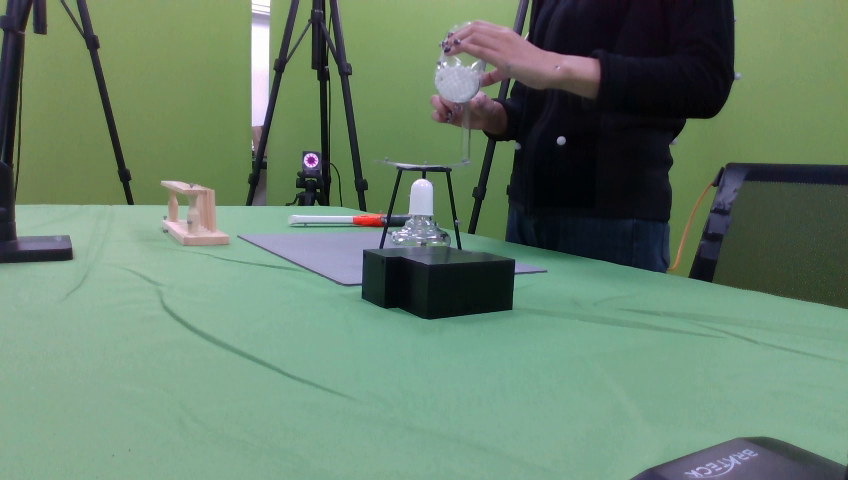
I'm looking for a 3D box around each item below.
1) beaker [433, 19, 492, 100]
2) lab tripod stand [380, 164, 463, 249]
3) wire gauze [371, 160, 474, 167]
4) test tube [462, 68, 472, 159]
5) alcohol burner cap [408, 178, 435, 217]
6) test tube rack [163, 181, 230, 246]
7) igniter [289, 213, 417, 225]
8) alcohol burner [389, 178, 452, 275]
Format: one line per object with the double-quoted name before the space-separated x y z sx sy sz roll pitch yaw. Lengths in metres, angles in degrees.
"beaker" 0.056 -0.261 0.893 0.074 0.100 0.084 8 -36 11
"lab tripod stand" -0.003 -0.055 0.967 0.148 0.131 0.148 2 9 0
"wire gauze" -0.004 -0.122 0.959 0.122 0.011 0.124 -4 10 -33
"test tube" 0.070 -0.205 0.987 0.017 0.150 0.017 -1 28 1
"alcohol burner cap" -0.002 -0.053 0.746 0.034 0.048 0.034 2 3 0
"test tube rack" -0.387 -0.050 1.015 0.067 0.085 0.241 -2 9 -30
"igniter" -0.144 -0.044 1.275 0.278 0.025 0.057 -1 -2 -28
"alcohol burner" -0.004 -0.017 0.749 0.078 0.119 0.078 1 9 0
